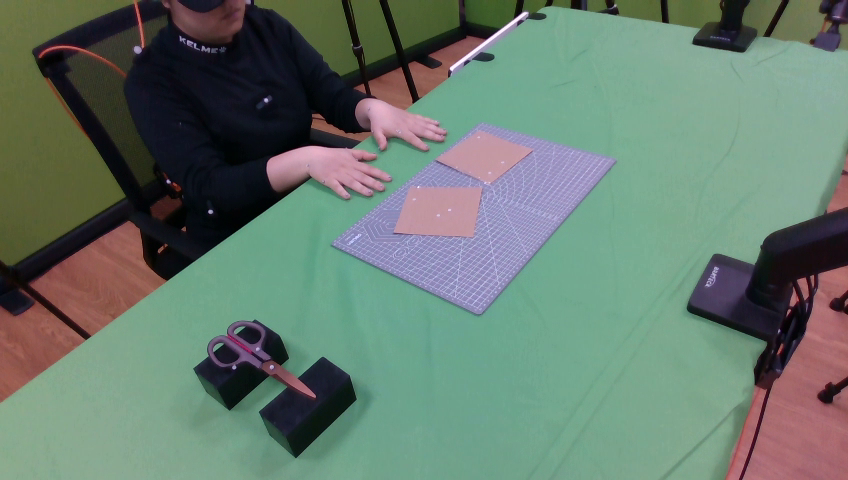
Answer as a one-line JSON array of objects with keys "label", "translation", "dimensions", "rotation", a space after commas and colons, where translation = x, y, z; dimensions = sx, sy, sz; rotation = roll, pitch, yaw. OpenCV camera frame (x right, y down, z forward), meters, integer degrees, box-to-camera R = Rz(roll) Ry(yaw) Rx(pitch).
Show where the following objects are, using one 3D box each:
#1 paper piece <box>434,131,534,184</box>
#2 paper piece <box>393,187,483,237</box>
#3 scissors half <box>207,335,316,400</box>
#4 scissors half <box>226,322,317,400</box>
[{"label": "paper piece", "translation": [0.114, -0.161, 1.151], "dimensions": [0.135, 0.009, 0.139], "rotation": [31, 52, 32]}, {"label": "paper piece", "translation": [0.027, -0.051, 1.033], "dimensions": [0.135, 0.004, 0.135], "rotation": [3, 41, 12]}, {"label": "scissors half", "translation": [-0.201, 0.159, 0.741], "dimensions": [0.174, 0.013, 0.040], "rotation": [18, 39, 23]}, {"label": "scissors half", "translation": [-0.189, 0.149, 0.754], "dimensions": [0.040, 0.013, 0.173], "rotation": [-34, 49, -32]}]
